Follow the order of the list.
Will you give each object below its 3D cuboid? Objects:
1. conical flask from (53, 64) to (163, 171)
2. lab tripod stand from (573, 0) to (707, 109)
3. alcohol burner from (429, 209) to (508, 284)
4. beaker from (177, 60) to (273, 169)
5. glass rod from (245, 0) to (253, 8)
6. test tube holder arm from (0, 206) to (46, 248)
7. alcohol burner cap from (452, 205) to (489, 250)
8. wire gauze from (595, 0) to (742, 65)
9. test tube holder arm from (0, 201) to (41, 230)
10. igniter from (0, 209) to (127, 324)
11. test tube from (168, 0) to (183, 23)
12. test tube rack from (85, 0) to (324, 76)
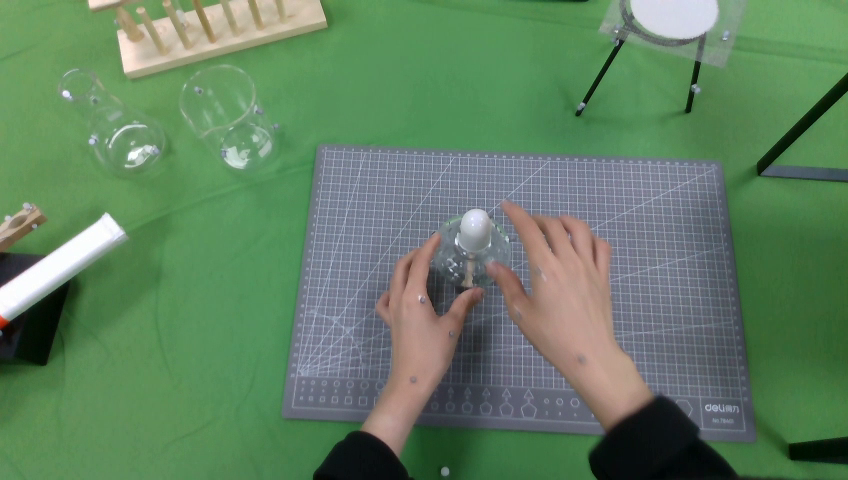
[{"bbox_3d":[-0.330,-0.130,0.626,0.075,0.122,0.075,0,69,1],"label":"conical flask"},{"bbox_3d":[0.236,-0.208,0.649,0.148,0.132,0.147,1,68,-1],"label":"lab tripod stand"},{"bbox_3d":[0.044,0.000,0.580,0.078,0.120,0.077,1,68,-1],"label":"alcohol burner"},{"bbox_3d":[-0.205,-0.124,0.637,0.074,0.101,0.083,17,71,7],"label":"beaker"},{"bbox_3d":[-0.222,-0.328,0.648,0.008,0.201,0.008,-3,63,5],"label":"glass rod"},{"bbox_3d":[-0.409,-0.001,0.584,0.088,0.015,0.010,-39,75,-14],"label":"test tube holder arm"},{"bbox_3d":[0.043,-0.014,0.547,0.034,0.048,0.033,0,68,-1],"label":"alcohol burner cap"},{"bbox_3d":[0.243,-0.234,0.587,0.121,0.011,0.124,23,72,7],"label":"wire gauze"},{"bbox_3d":[-0.446,0.023,0.574,0.178,0.015,0.013,-40,75,-14],"label":"test tube holder arm"},{"bbox_3d":[-0.403,0.067,0.555,0.276,0.025,0.057,-40,76,-17],"label":"igniter"},{"bbox_3d":[-0.290,-0.295,0.654,0.017,0.151,0.017,1,63,-1],"label":"test tube"},{"bbox_3d":[-0.247,-0.272,0.698,0.242,0.086,0.066,-17,70,-6],"label":"test tube rack"}]
